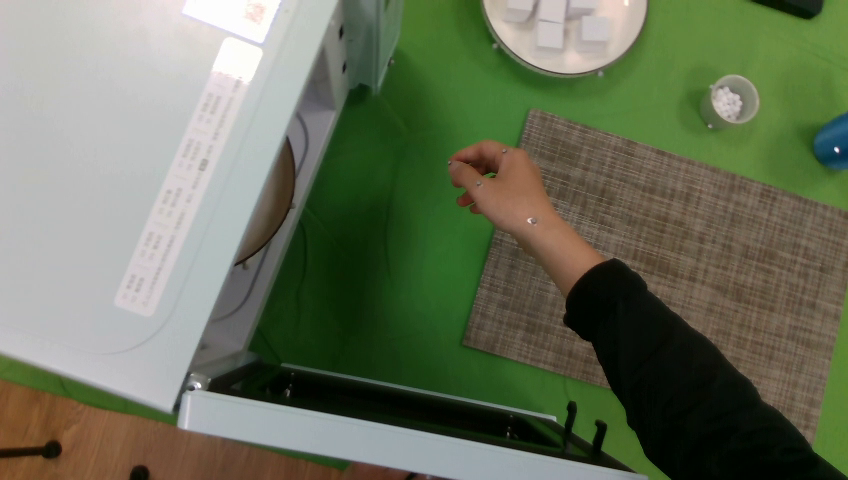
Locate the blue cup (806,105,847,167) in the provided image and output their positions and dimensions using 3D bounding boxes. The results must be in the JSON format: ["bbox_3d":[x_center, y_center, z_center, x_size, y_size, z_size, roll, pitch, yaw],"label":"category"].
[{"bbox_3d":[0.527,-0.128,0.736,0.093,0.100,0.092,0,86,-6],"label":"blue cup"}]

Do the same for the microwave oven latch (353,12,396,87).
[{"bbox_3d":[-0.057,-0.220,0.697,0.030,0.029,0.079,23,84,-4],"label":"microwave oven latch"}]

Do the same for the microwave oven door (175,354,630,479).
[{"bbox_3d":[-0.016,0.168,0.564,0.356,0.244,0.039,12,83,-4],"label":"microwave oven door"}]

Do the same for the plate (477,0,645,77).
[{"bbox_3d":[0.165,-0.298,0.746,0.208,0.039,0.207,1,84,-6],"label":"plate"}]

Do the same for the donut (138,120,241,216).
[{"bbox_3d":[-0.236,-0.072,0.610,0.099,0.048,0.099,0,86,-4],"label":"donut"}]

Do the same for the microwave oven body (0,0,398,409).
[{"bbox_3d":[-0.246,-0.115,0.571,0.326,0.260,0.440,20,84,-4],"label":"microwave oven body"}]

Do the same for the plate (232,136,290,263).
[{"bbox_3d":[-0.242,-0.068,0.619,0.209,0.038,0.208,1,85,-7],"label":"plate"}]

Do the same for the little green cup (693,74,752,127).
[{"bbox_3d":[0.370,-0.172,0.755,0.061,0.038,0.061,1,84,-6],"label":"little green cup"}]
